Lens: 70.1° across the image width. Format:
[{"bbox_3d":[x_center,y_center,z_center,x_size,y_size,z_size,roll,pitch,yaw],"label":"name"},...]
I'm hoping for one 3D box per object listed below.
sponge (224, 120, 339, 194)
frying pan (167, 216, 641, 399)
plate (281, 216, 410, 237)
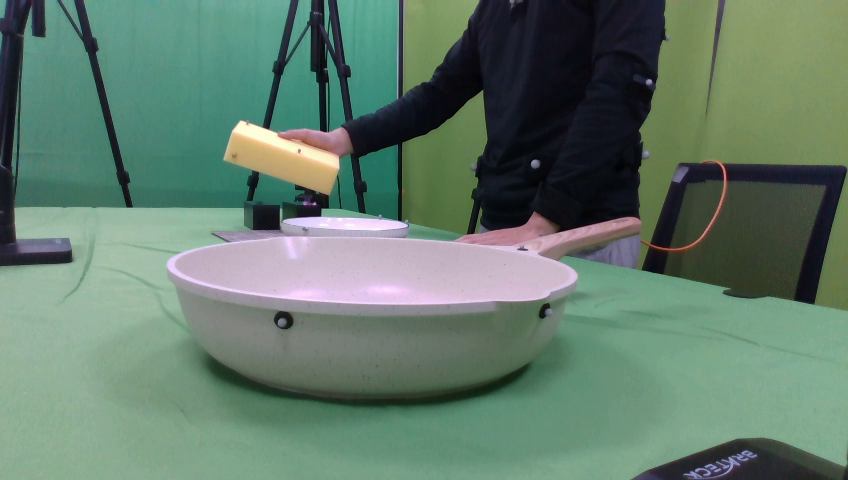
[{"bbox_3d":[-0.277,-0.166,1.202,0.207,0.061,0.118,18,17,-17],"label":"sponge"},{"bbox_3d":[0.046,0.024,0.519,0.490,0.102,0.305,-14,16,-37],"label":"frying pan"},{"bbox_3d":[-0.126,-0.012,0.986,0.208,0.039,0.207,2,7,0],"label":"plate"}]
